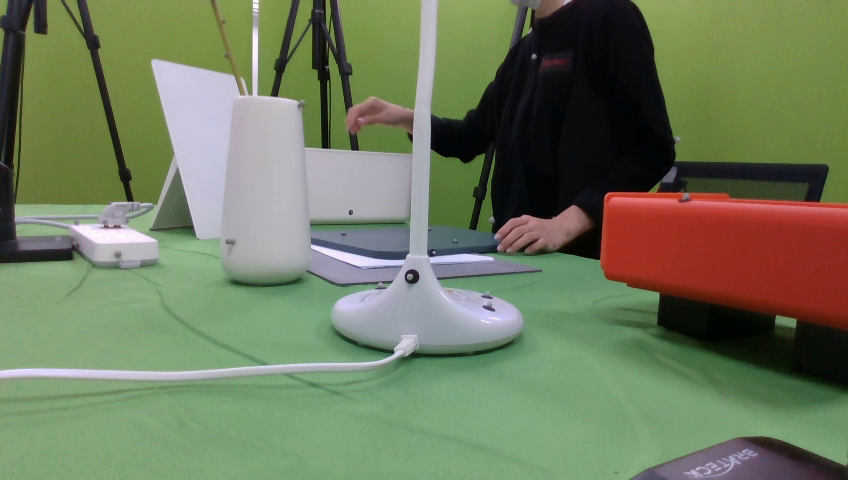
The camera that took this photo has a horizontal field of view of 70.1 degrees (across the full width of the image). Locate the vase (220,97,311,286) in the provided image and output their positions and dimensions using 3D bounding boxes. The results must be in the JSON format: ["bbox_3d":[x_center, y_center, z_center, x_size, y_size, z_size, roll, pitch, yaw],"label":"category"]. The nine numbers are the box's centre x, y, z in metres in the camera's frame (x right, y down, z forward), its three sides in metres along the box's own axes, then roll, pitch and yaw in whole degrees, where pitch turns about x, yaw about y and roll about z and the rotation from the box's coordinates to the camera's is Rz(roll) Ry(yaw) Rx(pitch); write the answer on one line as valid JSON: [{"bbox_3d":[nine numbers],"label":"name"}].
[{"bbox_3d":[-0.172,-0.052,0.662,0.098,0.200,0.098,3,9,0],"label":"vase"}]

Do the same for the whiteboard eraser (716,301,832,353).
[{"bbox_3d":[0.256,0.042,0.472,0.112,0.042,0.056,43,19,30],"label":"whiteboard eraser"}]

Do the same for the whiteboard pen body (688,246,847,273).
[{"bbox_3d":[0.303,0.016,0.519,0.140,0.017,0.017,4,8,25],"label":"whiteboard pen body"}]

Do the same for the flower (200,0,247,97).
[{"bbox_3d":[-0.187,-0.133,0.648,0.038,0.362,0.044,0,21,42],"label":"flower"}]

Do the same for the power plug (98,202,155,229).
[{"bbox_3d":[-0.416,-0.027,0.848,0.073,0.052,0.035,0,7,-28],"label":"power plug"}]

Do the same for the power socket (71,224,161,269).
[{"bbox_3d":[-0.408,0.004,0.793,0.072,0.032,0.225,-2,8,-38],"label":"power socket"}]

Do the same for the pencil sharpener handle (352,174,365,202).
[{"bbox_3d":[-0.156,-0.124,1.449,0.031,0.068,0.036,1,18,-10],"label":"pencil sharpener handle"}]

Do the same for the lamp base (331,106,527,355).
[{"bbox_3d":[0.006,-0.012,0.478,0.161,0.180,0.179,2,10,2],"label":"lamp base"}]

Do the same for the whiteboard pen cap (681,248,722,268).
[{"bbox_3d":[0.250,0.017,0.544,0.033,0.018,0.018,2,7,25],"label":"whiteboard pen cap"}]

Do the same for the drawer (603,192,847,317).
[{"bbox_3d":[0.293,0.002,0.500,0.195,0.073,0.210,-1,8,-34],"label":"drawer"}]

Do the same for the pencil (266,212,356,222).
[{"bbox_3d":[-0.244,-0.049,1.319,0.195,0.012,0.012,4,7,-12],"label":"pencil"}]

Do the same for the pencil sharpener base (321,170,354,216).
[{"bbox_3d":[-0.206,-0.112,1.437,0.077,0.107,0.061,1,6,-11],"label":"pencil sharpener base"}]

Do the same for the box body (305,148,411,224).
[{"bbox_3d":[-0.230,-0.126,1.372,0.366,0.160,0.253,-2,8,-33],"label":"box body"}]

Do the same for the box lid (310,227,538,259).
[{"bbox_3d":[-0.010,0.001,1.036,0.374,0.015,0.262,-3,9,-44],"label":"box lid"}]

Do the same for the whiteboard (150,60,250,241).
[{"bbox_3d":[-0.408,-0.139,1.093,0.143,0.305,0.218,-15,-1,26],"label":"whiteboard"}]

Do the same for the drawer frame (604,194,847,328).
[{"bbox_3d":[0.298,0.007,0.497,0.203,0.082,0.212,-1,7,-34],"label":"drawer frame"}]
